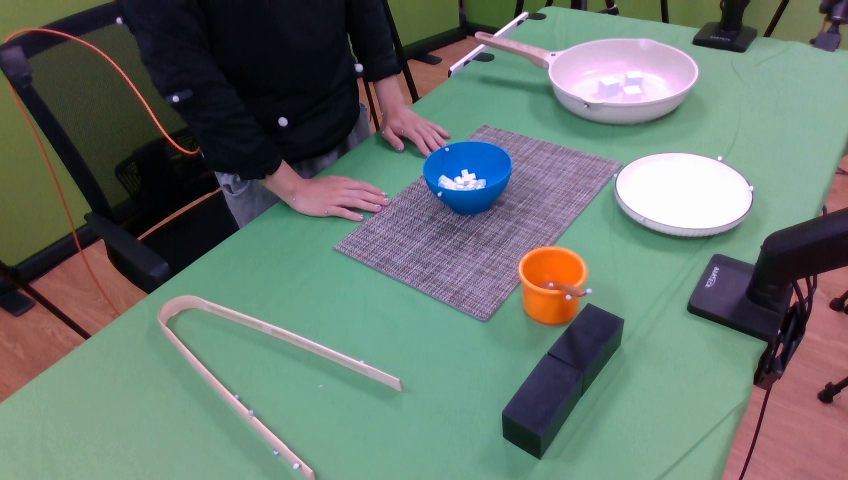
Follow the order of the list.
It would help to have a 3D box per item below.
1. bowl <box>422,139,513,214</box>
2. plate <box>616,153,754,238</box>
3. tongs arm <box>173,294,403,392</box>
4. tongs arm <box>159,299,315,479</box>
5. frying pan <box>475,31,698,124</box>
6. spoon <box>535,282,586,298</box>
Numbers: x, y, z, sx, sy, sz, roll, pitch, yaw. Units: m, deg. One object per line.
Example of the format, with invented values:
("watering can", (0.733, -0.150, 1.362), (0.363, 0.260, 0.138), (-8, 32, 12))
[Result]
("bowl", (0.075, -0.097, 1.021), (0.151, 0.077, 0.150), (-4, 41, 4))
("plate", (0.416, -0.069, 0.977), (0.207, 0.039, 0.206), (-4, 40, 4))
("tongs arm", (-0.198, 0.137, 0.833), (0.385, 0.028, 0.028), (16, 48, 24))
("tongs arm", (-0.248, 0.179, 0.784), (0.381, 0.026, 0.051), (26, 49, 34))
("frying pan", (0.320, -0.371, 1.290), (0.485, 0.103, 0.307), (28, 50, 23))
("spoon", (0.176, 0.063, 0.774), (0.041, 0.194, 0.021), (-3, 85, 1))
